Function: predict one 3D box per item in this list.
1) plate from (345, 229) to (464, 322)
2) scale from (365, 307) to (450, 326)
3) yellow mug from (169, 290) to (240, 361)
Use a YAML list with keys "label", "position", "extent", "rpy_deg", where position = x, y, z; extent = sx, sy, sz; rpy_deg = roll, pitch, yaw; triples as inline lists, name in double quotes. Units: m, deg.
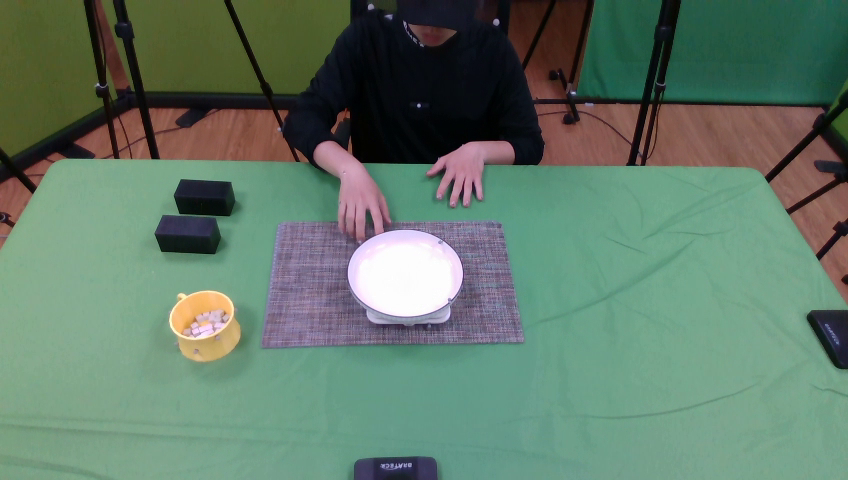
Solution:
- label: "plate"
  position: [-0.034, 0.065, 1.073]
  extent: [0.209, 0.038, 0.208]
  rpy_deg: [2, 46, -2]
- label: "scale"
  position: [-0.032, 0.071, 1.113]
  extent: [0.149, 0.032, 0.199]
  rpy_deg: [0, 46, -4]
- label: "yellow mug"
  position: [-0.373, 0.132, 1.009]
  extent: [0.130, 0.064, 0.100]
  rpy_deg: [35, 52, 27]
